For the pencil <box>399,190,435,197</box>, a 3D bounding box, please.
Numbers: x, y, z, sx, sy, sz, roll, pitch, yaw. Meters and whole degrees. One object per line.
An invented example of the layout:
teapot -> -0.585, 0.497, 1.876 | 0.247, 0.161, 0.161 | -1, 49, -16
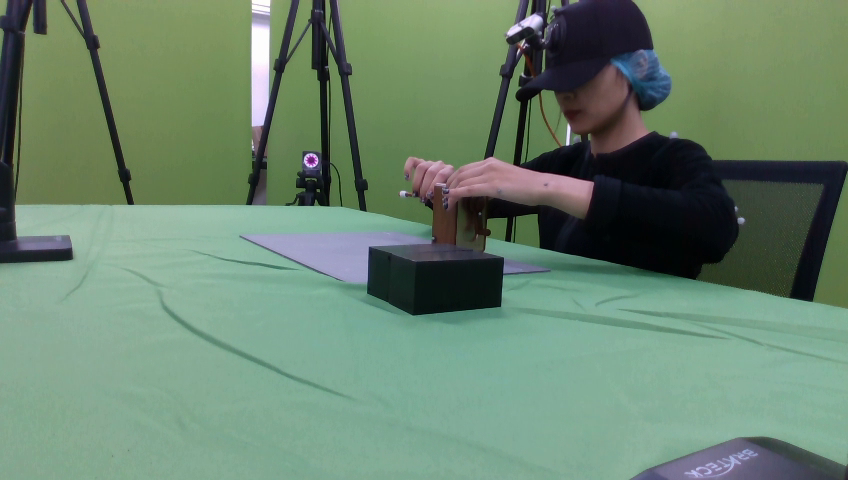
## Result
pencil -> 0.003, -0.078, 1.042 | 0.012, 0.012, 0.193 | -2, 7, -29

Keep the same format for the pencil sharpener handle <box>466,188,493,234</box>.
pencil sharpener handle -> 0.087, -0.042, 0.900 | 0.036, 0.068, 0.030 | -14, 15, -28

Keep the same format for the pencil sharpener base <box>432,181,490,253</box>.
pencil sharpener base -> 0.058, -0.037, 0.944 | 0.062, 0.107, 0.076 | -1, 9, -31
